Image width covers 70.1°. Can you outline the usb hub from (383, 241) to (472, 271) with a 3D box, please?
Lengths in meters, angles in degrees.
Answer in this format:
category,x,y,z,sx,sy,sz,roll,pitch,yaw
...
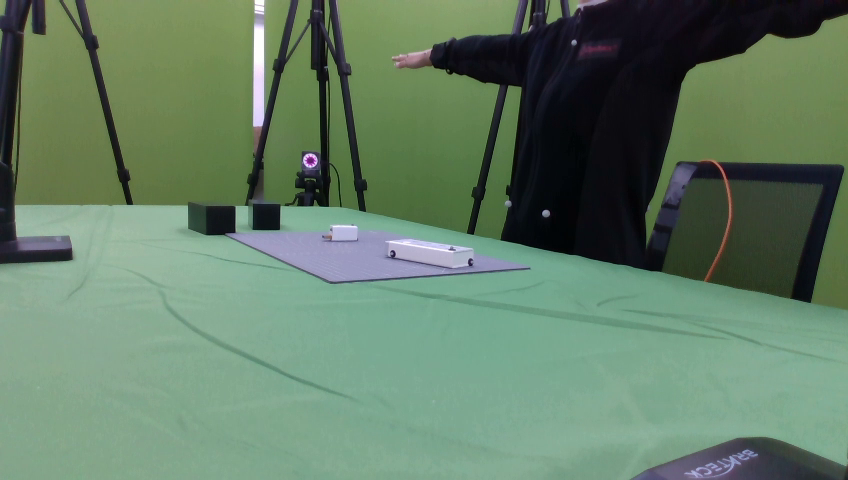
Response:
category,x,y,z,sx,sy,sz,roll,pitch,yaw
usb hub,0.003,0.020,0.842,0.124,0.025,0.050,8,9,39

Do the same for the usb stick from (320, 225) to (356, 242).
category,x,y,z,sx,sy,sz,roll,pitch,yaw
usb stick,-0.146,-0.010,1.017,0.059,0.027,0.021,-3,12,-26
